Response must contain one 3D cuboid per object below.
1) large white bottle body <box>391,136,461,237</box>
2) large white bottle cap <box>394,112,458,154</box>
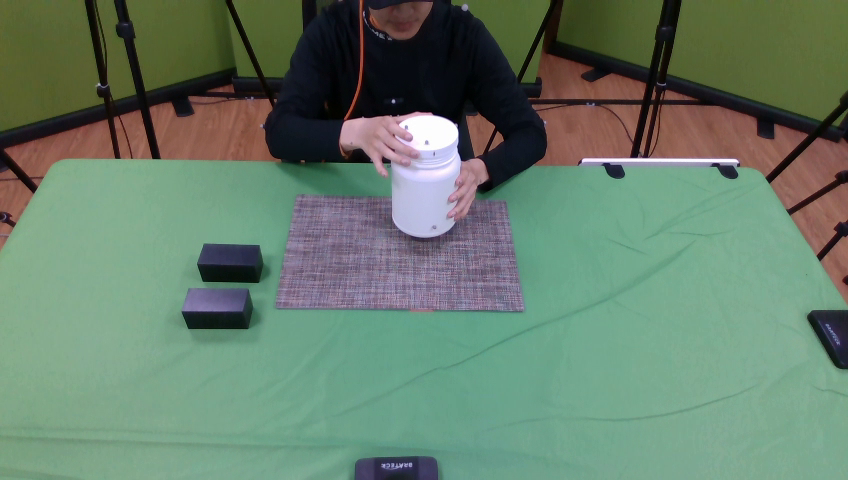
[{"bbox_3d":[0.002,-0.113,1.148,0.130,0.185,0.130,1,43,-1],"label":"large white bottle body"},{"bbox_3d":[0.004,-0.191,1.078,0.115,0.018,0.114,-1,43,1],"label":"large white bottle cap"}]
